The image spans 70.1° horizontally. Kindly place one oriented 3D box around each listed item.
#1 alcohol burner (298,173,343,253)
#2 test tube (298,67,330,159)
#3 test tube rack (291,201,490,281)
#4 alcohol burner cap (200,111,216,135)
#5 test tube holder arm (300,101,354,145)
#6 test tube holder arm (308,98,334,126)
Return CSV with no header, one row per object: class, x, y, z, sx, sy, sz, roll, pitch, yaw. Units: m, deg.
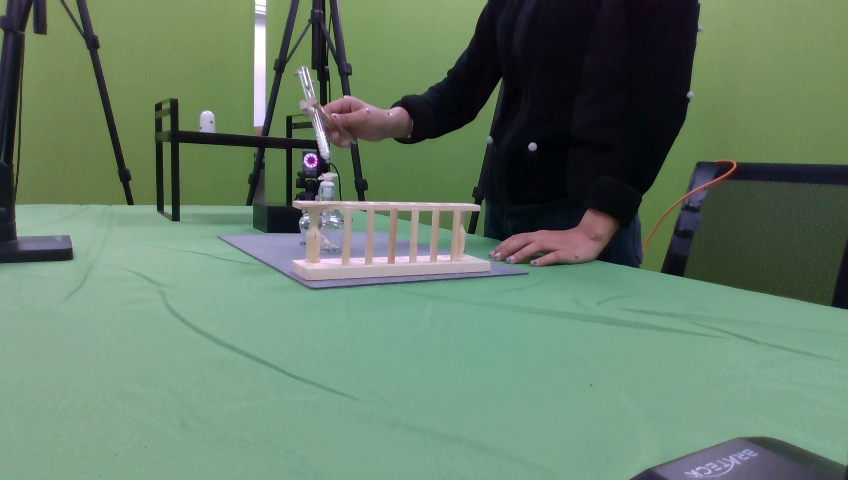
alcohol burner,-0.146,-0.040,0.894,0.078,0.119,0.078,5,7,0
test tube,-0.164,-0.190,0.903,0.017,0.150,0.017,-16,-12,-3
test tube rack,-0.035,-0.002,0.745,0.243,0.085,0.066,-1,8,-28
alcohol burner cap,-0.448,-0.243,1.255,0.034,0.048,0.034,2,7,0
test tube holder arm,-0.152,-0.185,0.971,0.013,0.015,0.179,-12,-11,13
test tube holder arm,-0.157,-0.193,0.926,0.010,0.015,0.088,-11,-11,8
